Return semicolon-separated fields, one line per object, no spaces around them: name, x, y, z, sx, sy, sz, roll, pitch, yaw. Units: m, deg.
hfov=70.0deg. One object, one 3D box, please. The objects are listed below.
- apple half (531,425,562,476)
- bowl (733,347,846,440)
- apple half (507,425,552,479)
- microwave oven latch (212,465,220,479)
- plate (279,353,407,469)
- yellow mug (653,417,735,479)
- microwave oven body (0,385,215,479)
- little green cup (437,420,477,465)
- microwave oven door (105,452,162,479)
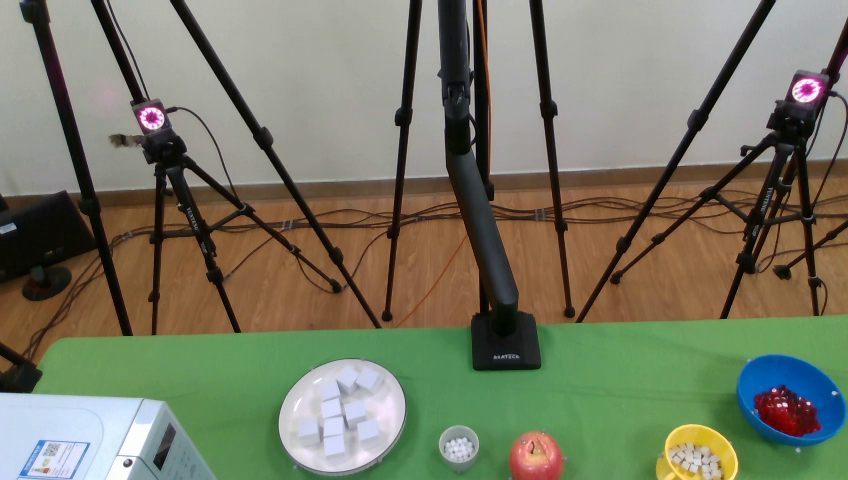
apple half;0.187;0.312;0.906;0.033;0.082;0.080;-19;45;-8
bowl;0.549;0.249;0.935;0.151;0.077;0.150;-3;44;3
apple half;0.151;0.324;0.899;0.053;0.075;0.080;-19;49;-7
microwave oven latch;-0.325;0.373;0.890;0.030;0.030;0.078;3;45;7
plate;-0.130;0.281;0.994;0.207;0.039;0.205;-2;44;3
yellow mug;0.379;0.325;0.881;0.131;0.064;0.099;-25;48;-18
microwave oven body;-0.493;0.426;0.711;0.326;0.263;0.437;1;45;5
little green cup;0.053;0.316;0.940;0.061;0.039;0.061;-3;44;3
microwave oven door;-0.352;0.452;0.663;0.039;0.246;0.352;0;44;6
